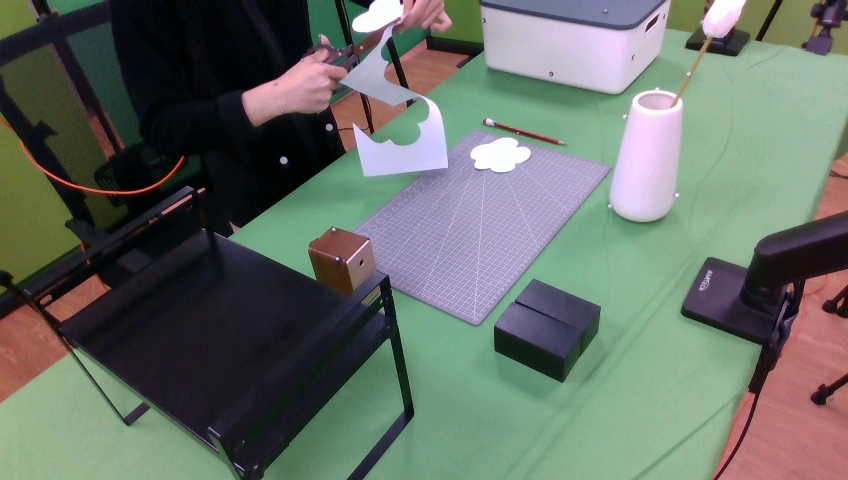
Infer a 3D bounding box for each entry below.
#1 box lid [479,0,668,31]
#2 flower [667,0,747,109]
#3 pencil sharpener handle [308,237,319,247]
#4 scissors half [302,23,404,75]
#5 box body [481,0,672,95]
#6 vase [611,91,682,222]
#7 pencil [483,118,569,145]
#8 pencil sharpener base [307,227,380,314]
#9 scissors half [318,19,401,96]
[{"bbox_3d":[0.335,-0.536,1.331,0.368,0.015,0.264,23,49,30],"label":"box lid"},{"bbox_3d":[0.354,-0.187,0.879,0.038,0.362,0.044,30,48,14],"label":"flower"},{"bbox_3d":[-0.159,0.017,0.892,0.030,0.068,0.036,18,61,28],"label":"pencil sharpener handle"},{"bbox_3d":[-0.112,-0.301,0.938,0.175,0.040,0.013,-17,36,11],"label":"scissors half"},{"bbox_3d":[0.341,-0.480,1.381,0.361,0.161,0.255,22,48,30],"label":"box body"},{"bbox_3d":[0.348,-0.125,0.935,0.098,0.201,0.097,-3,40,3],"label":"vase"},{"bbox_3d":[0.201,-0.217,1.212,0.192,0.012,0.012,24,49,29],"label":"pencil"},{"bbox_3d":[-0.116,0.043,0.875,0.076,0.107,0.061,18,47,28],"label":"pencil sharpener base"},{"bbox_3d":[-0.100,-0.286,0.948,0.175,0.040,0.012,-38,24,23],"label":"scissors half"}]
